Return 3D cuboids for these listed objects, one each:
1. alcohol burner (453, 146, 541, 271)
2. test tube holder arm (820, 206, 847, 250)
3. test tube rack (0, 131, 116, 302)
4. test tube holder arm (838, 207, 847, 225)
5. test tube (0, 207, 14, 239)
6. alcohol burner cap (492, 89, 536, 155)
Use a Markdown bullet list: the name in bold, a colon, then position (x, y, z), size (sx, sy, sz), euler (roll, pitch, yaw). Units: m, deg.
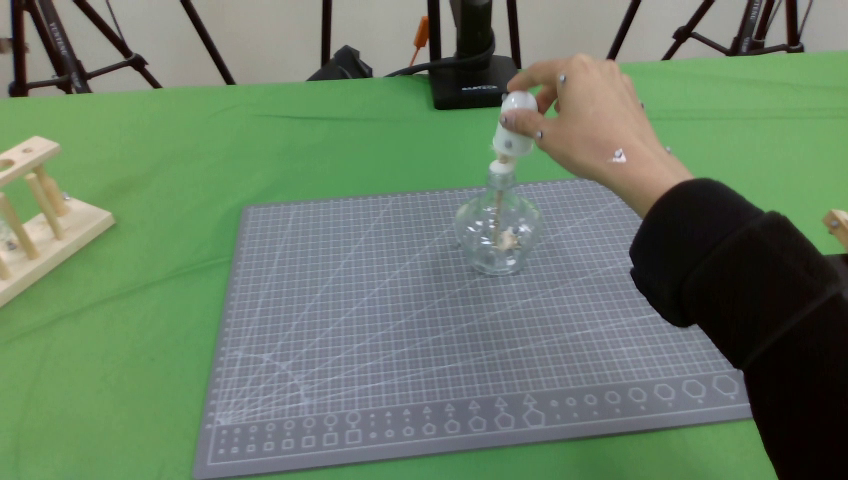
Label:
- **alcohol burner**: position (0.064, -0.032, 0.521), size (0.078, 0.120, 0.077), euler (-1, 40, 1)
- **test tube holder arm**: position (0.340, 0.005, 0.475), size (0.010, 0.015, 0.087), euler (2, 42, -8)
- **test tube rack**: position (-0.394, 0.009, 0.512), size (0.066, 0.086, 0.241), euler (19, 46, 21)
- **test tube holder arm**: position (0.350, 0.035, 0.442), size (0.013, 0.015, 0.176), euler (2, 42, -8)
- **test tube**: position (-0.391, -0.061, 0.516), size (0.017, 0.151, 0.017), euler (-2, 39, 2)
- **alcohol burner cap**: position (0.071, -0.092, 0.465), size (0.034, 0.048, 0.033), euler (1, 44, -1)
